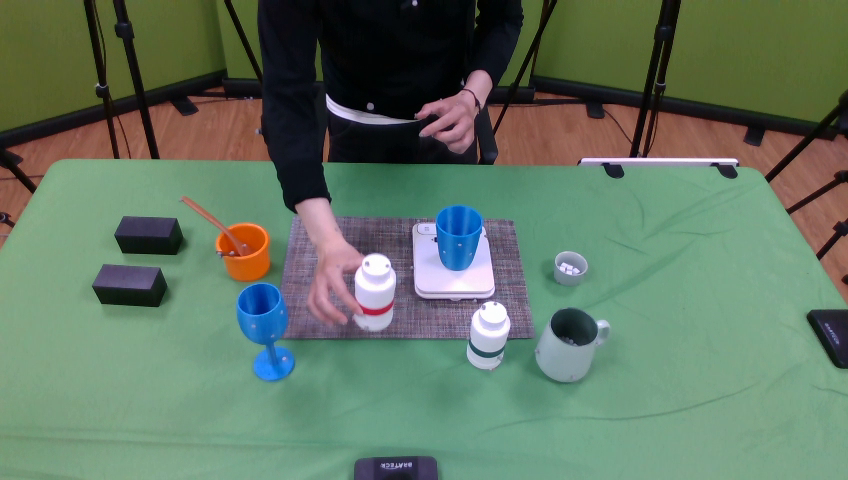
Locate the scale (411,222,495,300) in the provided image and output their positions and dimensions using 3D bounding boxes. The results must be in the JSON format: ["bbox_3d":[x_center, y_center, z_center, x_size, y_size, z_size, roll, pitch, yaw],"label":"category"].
[{"bbox_3d":[0.052,0.031,1.158,0.149,0.032,0.199,1,46,-4],"label":"scale"}]

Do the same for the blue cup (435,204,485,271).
[{"bbox_3d":[0.061,0.001,1.097,0.092,0.101,0.092,1,44,0],"label":"blue cup"}]

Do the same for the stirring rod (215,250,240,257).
[{"bbox_3d":[-0.340,0.024,1.059,0.014,0.176,0.006,17,86,-6],"label":"stirring rod"}]

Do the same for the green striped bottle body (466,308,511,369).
[{"bbox_3d":[0.106,0.154,0.988,0.063,0.120,0.063,2,46,-2],"label":"green striped bottle body"}]

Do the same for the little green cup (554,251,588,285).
[{"bbox_3d":[0.276,0.055,1.151,0.061,0.039,0.061,1,46,-1],"label":"little green cup"}]

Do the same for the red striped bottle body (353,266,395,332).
[{"bbox_3d":[-0.078,0.081,0.935,0.063,0.120,0.062,4,43,-3],"label":"red striped bottle body"}]

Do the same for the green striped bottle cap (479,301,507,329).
[{"bbox_3d":[0.109,0.118,0.950,0.044,0.020,0.044,2,47,-2],"label":"green striped bottle cap"}]

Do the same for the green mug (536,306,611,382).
[{"bbox_3d":[0.250,0.167,0.996,0.125,0.105,0.092,-15,49,-18],"label":"green mug"}]

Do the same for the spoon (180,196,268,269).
[{"bbox_3d":[-0.360,-0.014,1.095,0.021,0.194,0.041,-28,26,31],"label":"spoon"}]

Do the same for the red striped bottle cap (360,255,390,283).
[{"bbox_3d":[-0.072,0.042,0.900,0.044,0.018,0.044,5,45,-5],"label":"red striped bottle cap"}]

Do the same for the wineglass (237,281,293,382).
[{"bbox_3d":[-0.242,0.143,0.934,0.074,0.173,0.073,2,46,-2],"label":"wineglass"}]
